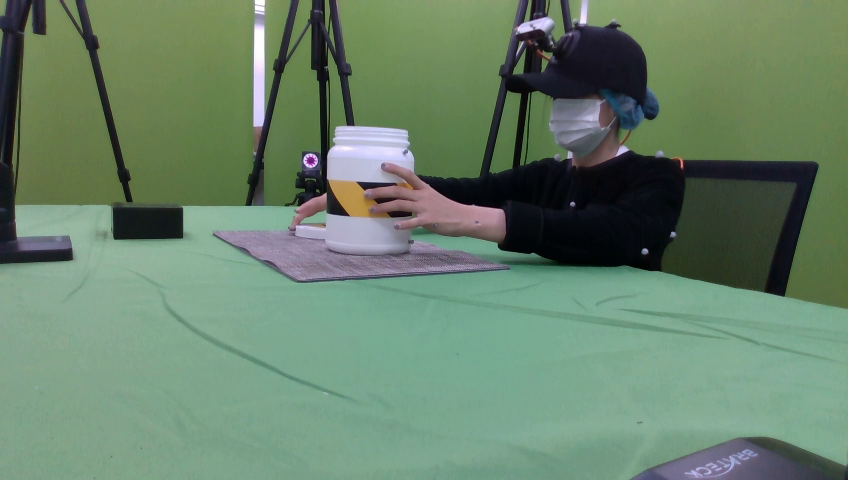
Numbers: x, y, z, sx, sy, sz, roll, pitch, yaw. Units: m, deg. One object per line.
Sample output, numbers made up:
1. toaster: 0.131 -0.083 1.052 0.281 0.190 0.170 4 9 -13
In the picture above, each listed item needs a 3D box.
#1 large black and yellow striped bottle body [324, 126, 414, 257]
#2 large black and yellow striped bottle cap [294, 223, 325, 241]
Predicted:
1. large black and yellow striped bottle body: -0.081 -0.074 0.904 0.131 0.184 0.130 3 7 0
2. large black and yellow striped bottle cap: -0.172 -0.015 1.071 0.115 0.019 0.115 2 7 0
